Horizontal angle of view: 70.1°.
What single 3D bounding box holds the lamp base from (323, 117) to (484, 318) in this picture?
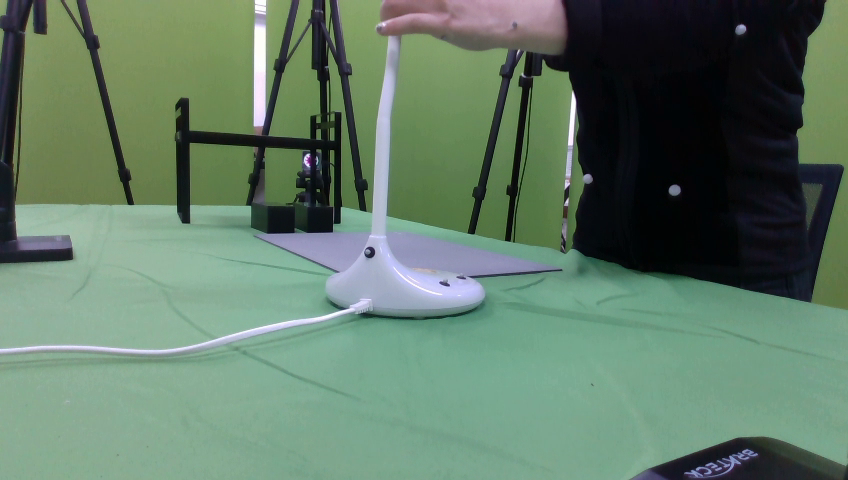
[{"bbox_3d":[-0.021,-0.025,0.583,0.160,0.180,0.179,5,10,17],"label":"lamp base"}]
